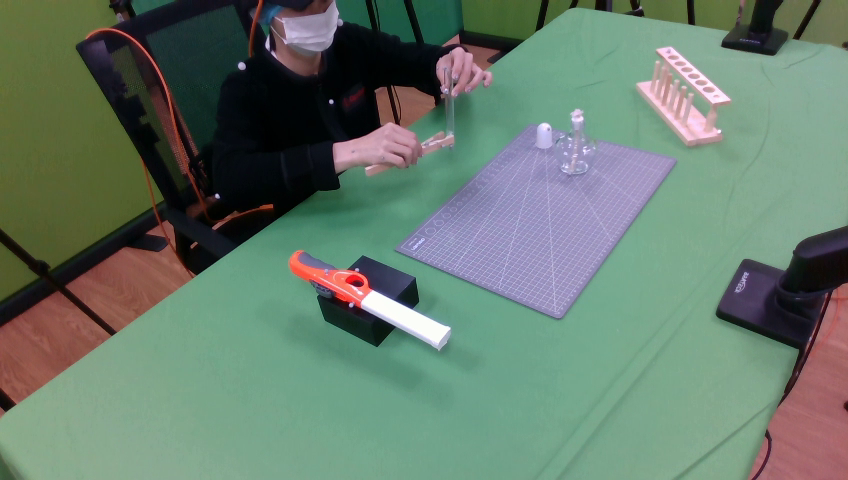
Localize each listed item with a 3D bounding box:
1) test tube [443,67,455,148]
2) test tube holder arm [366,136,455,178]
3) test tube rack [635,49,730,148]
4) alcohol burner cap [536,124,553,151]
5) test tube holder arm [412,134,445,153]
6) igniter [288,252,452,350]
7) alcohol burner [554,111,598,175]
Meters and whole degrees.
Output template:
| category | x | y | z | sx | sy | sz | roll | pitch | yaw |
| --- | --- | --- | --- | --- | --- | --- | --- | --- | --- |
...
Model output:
| category | x | y | z | sx | sy | sz | roll | pitch | yaw |
| --- | --- | --- | --- | --- | --- | --- | --- | --- | --- |
| test tube | 0.043 | -0.227 | 1.050 | 0.017 | 0.151 | 0.017 | -2 | 39 | 2 |
| test tube holder arm | -0.021 | -0.143 | 1.032 | 0.179 | 0.015 | 0.013 | -26 | 36 | -26 |
| test tube rack | 0.497 | -0.283 | 1.184 | 0.067 | 0.085 | 0.240 | -10 | 40 | -2 |
| alcohol burner cap | 0.232 | -0.199 | 1.158 | 0.034 | 0.048 | 0.033 | -5 | 41 | 4 |
| test tube holder arm | 0.008 | -0.164 | 1.058 | 0.010 | 0.015 | 0.088 | 17 | 40 | 34 |
| igniter | -0.084 | 0.077 | 0.821 | 0.274 | 0.025 | 0.057 | 23 | 48 | 27 |
| alcohol burner | 0.270 | -0.175 | 1.066 | 0.078 | 0.119 | 0.077 | -4 | 42 | 4 |
